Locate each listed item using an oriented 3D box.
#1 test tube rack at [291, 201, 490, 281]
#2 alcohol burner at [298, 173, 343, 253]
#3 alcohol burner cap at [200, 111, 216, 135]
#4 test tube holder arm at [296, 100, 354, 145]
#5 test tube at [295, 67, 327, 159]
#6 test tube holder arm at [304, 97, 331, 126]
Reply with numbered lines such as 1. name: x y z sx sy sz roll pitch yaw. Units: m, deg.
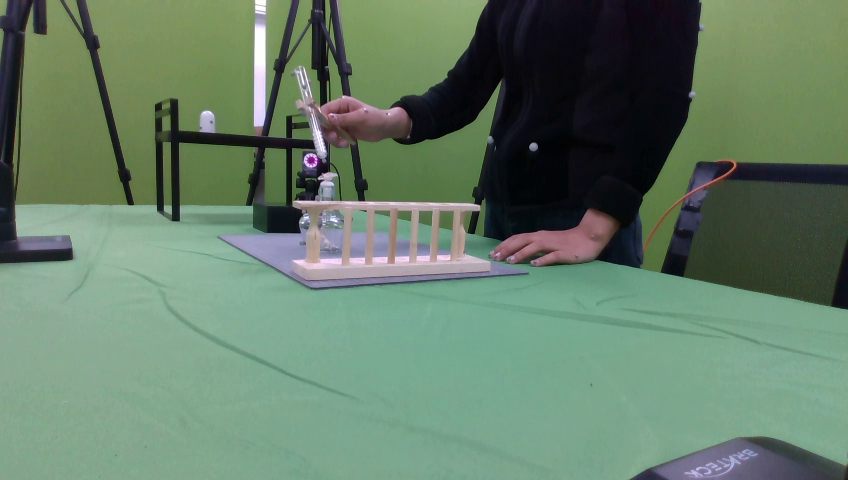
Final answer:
1. test tube rack: -0.035 -0.002 0.745 0.243 0.085 0.066 -1 8 -28
2. alcohol burner: -0.146 -0.040 0.894 0.078 0.119 0.078 5 7 0
3. alcohol burner cap: -0.448 -0.243 1.255 0.034 0.048 0.034 2 7 0
4. test tube holder arm: -0.154 -0.184 0.965 0.013 0.015 0.179 -15 -13 15
5. test tube: -0.168 -0.190 0.898 0.017 0.150 0.017 -15 -13 -3
6. test tube holder arm: -0.161 -0.193 0.921 0.010 0.015 0.088 -14 -13 8
